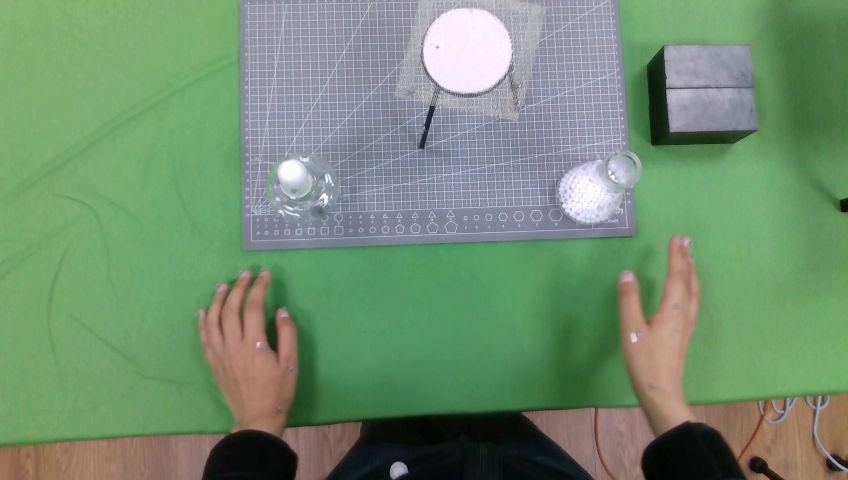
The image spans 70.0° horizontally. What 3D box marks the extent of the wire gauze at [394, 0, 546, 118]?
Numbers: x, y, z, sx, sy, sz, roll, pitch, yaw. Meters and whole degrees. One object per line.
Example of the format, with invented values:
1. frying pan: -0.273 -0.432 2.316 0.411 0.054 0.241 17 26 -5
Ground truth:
1. wire gauze: 0.045 -0.185 0.578 0.121 0.011 0.125 15 83 0

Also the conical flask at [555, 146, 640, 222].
1. conical flask: 0.189 -0.064 0.643 0.075 0.122 0.075 0 83 -2

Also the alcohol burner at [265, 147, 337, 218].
1. alcohol burner: -0.132 -0.063 0.635 0.078 0.119 0.077 0 85 -1

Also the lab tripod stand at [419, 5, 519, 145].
1. lab tripod stand: 0.037 -0.178 0.645 0.148 0.132 0.148 0 83 0

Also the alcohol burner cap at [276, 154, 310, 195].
1. alcohol burner cap: -0.131 -0.067 0.600 0.034 0.048 0.033 1 79 -5
